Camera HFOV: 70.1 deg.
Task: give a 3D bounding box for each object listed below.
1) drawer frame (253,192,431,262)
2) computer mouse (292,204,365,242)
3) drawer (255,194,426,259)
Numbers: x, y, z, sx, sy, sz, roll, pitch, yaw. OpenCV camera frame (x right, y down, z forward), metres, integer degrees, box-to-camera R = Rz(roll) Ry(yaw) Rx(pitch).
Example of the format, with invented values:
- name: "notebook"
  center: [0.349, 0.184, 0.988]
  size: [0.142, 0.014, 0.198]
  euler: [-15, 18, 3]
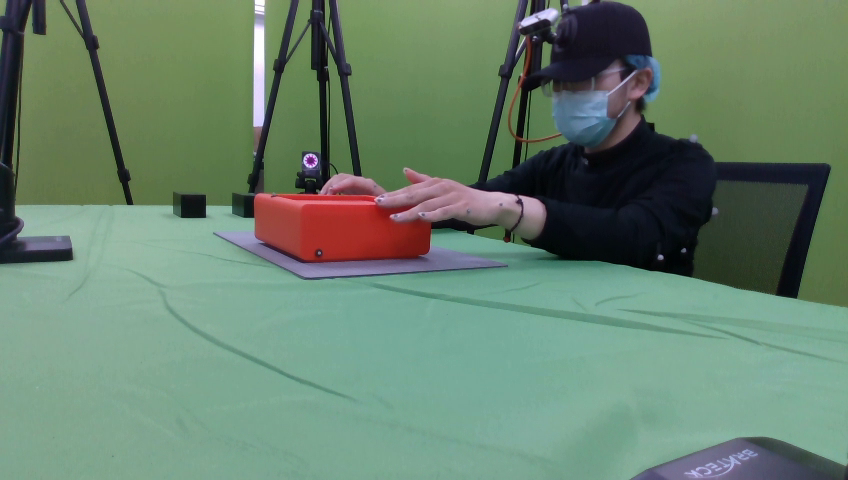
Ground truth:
- name: "drawer frame"
  center: [-0.129, -0.027, 0.911]
  size: [0.203, 0.082, 0.212]
  euler: [-2, 9, -32]
- name: "computer mouse"
  center: [-0.151, -0.028, 0.955]
  size: [0.117, 0.041, 0.062]
  euler: [-11, 25, -2]
- name: "drawer"
  center: [-0.130, -0.025, 0.912]
  size: [0.195, 0.073, 0.210]
  euler: [-2, 10, -31]
